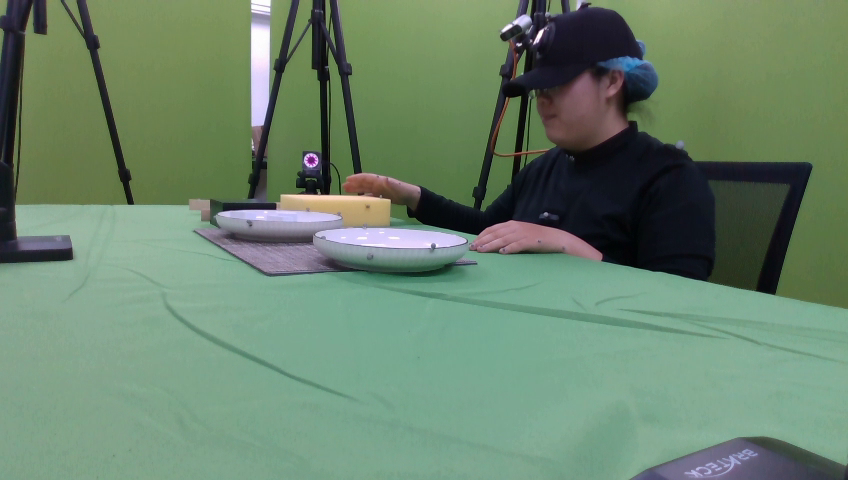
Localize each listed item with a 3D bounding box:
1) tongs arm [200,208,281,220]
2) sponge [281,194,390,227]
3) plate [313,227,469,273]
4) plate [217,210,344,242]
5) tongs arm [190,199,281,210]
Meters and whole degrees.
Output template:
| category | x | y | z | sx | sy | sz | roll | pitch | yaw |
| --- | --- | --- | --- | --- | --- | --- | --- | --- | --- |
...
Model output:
| category | x | y | z | sx | sy | sz | roll | pitch | yaw |
| --- | --- | --- | --- | --- | --- | --- | --- | --- | --- |
| tongs arm | -0.302 | -0.060 | 1.350 | 0.390 | 0.028 | 0.028 | -3 | 7 | -38 |
| sponge | -0.188 | -0.063 | 1.291 | 0.208 | 0.061 | 0.117 | -2 | 9 | -35 |
| plate | -0.044 | 0.012 | 0.807 | 0.209 | 0.038 | 0.209 | 2 | 7 | 0 |
| plate | -0.241 | -0.024 | 1.026 | 0.208 | 0.039 | 0.207 | 3 | 7 | 0 |
| tongs arm | -0.341 | -0.075 | 1.419 | 0.387 | 0.026 | 0.050 | 0 | 8 | -25 |
